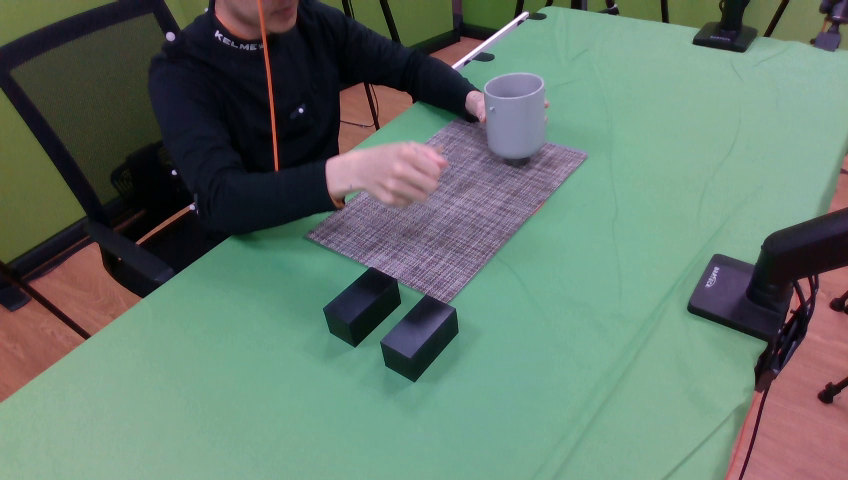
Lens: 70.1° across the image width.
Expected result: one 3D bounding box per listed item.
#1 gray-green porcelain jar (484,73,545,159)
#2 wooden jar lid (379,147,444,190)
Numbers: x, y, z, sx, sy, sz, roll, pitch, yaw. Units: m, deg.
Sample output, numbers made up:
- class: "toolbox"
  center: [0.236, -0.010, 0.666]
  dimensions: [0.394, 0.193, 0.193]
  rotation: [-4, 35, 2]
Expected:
- class: "gray-green porcelain jar"
  center: [0.163, -0.217, 1.078]
  dimensions: [0.106, 0.127, 0.105]
  rotation: [-6, 38, 5]
- class: "wooden jar lid"
  center: [-0.016, -0.103, 0.888]
  dimensions: [0.108, 0.021, 0.108]
  rotation: [-29, 5, 4]
